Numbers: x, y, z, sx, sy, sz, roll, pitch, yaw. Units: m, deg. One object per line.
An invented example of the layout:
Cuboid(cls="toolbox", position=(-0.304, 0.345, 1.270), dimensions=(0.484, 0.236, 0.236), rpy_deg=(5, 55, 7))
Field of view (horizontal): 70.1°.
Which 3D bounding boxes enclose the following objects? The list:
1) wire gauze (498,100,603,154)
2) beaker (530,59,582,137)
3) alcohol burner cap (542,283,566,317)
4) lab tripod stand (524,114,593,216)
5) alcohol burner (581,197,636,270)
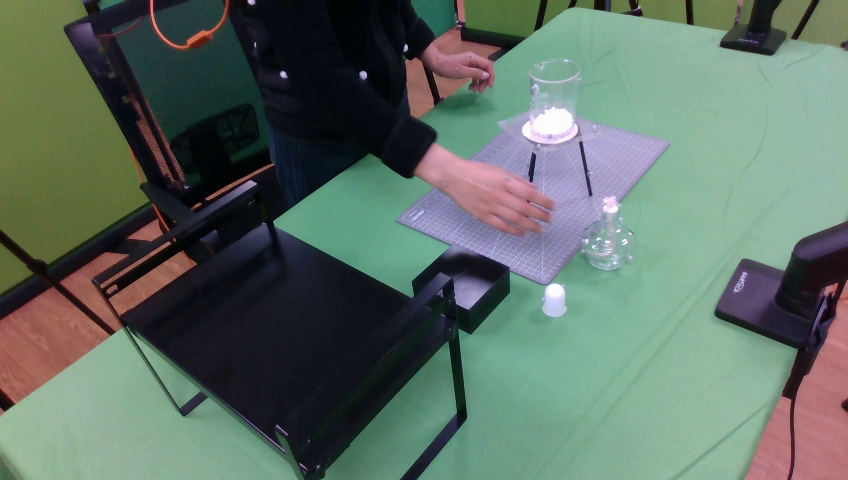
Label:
Cuboid(cls="wire gauze", position=(0.199, -0.179, 0.962), dimensions=(0.125, 0.011, 0.120), rpy_deg=(-21, 42, -12))
Cuboid(cls="beaker", position=(0.198, -0.217, 0.932), dimensions=(0.074, 0.101, 0.083), rpy_deg=(-22, 43, -16))
Cuboid(cls="alcohol burner cap", position=(0.181, 0.081, 0.839), dimensions=(0.034, 0.048, 0.033), rpy_deg=(-3, 40, 3))
Cuboid(cls="lab tripod stand", position=(0.210, -0.127, 1.001), dimensions=(0.148, 0.132, 0.147), rpy_deg=(-4, 43, 4))
Cuboid(cls="alcohol burner", position=(0.270, -0.015, 0.882), dimensions=(0.078, 0.119, 0.077), rpy_deg=(-5, 42, 5))
